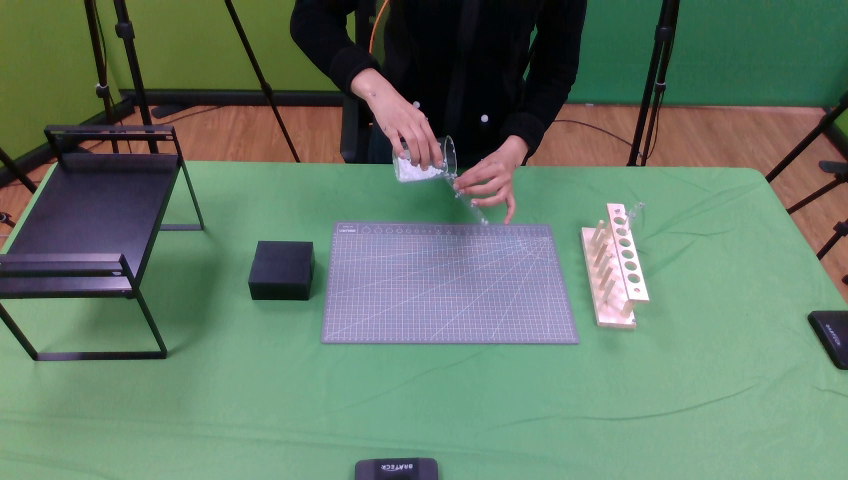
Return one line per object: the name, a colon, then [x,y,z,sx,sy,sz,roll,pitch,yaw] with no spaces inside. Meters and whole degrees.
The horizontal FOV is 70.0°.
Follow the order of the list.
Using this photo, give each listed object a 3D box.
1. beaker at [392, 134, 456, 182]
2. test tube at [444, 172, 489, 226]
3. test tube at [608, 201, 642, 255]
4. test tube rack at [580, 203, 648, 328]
beaker: [-0.002,-0.137,1.045,0.100,0.084,0.073,-7,46,-10]
test tube: [0.081,-0.074,1.125,0.017,0.151,0.017,-23,42,23]
test tube: [0.373,-0.019,1.133,0.017,0.151,0.017,3,52,-4]
test tube rack: [0.352,0.041,1.142,0.067,0.085,0.241,4,46,0]
